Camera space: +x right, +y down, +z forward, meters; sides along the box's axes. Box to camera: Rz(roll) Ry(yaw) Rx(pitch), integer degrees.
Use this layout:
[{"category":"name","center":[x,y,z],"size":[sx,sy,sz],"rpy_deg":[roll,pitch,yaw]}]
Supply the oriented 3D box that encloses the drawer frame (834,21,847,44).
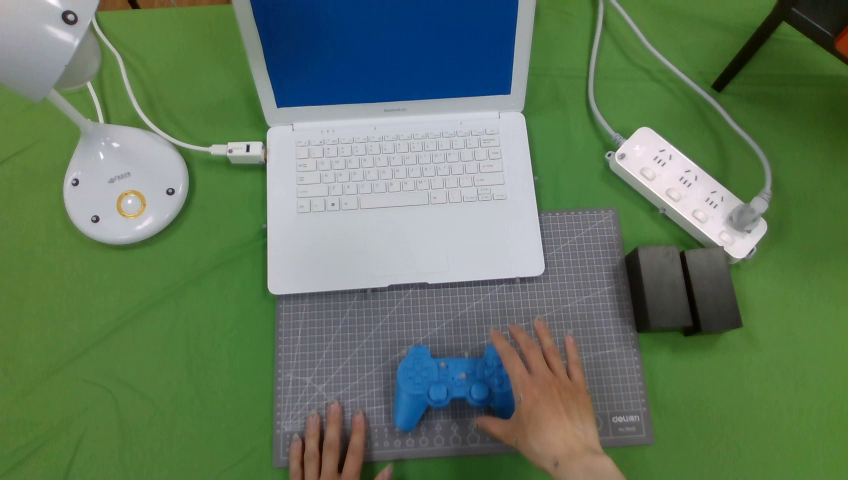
[{"category":"drawer frame","center":[0.589,-0.238,0.637],"size":[0.201,0.083,0.213],"rpy_deg":[41,77,11]}]

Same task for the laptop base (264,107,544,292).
[{"category":"laptop base","center":[-0.031,-0.057,0.799],"size":[0.354,0.023,0.234],"rpy_deg":[-4,76,-2]}]

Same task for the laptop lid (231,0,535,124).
[{"category":"laptop lid","center":[-0.043,-0.246,0.744],"size":[0.357,0.244,0.013],"rpy_deg":[-5,49,-1]}]

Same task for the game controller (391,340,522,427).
[{"category":"game controller","center":[0.038,0.168,0.716],"size":[0.155,0.052,0.096],"rpy_deg":[-1,69,-1]}]

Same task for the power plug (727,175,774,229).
[{"category":"power plug","center":[0.417,-0.042,0.767],"size":[0.072,0.053,0.035],"rpy_deg":[-35,76,-12]}]

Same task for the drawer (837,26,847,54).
[{"category":"drawer","center":[0.587,-0.233,0.637],"size":[0.193,0.073,0.211],"rpy_deg":[42,77,11]}]

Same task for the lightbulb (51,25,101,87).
[{"category":"lightbulb","center":[-0.305,-0.164,0.466],"size":[0.059,0.109,0.059],"rpy_deg":[-19,52,27]}]

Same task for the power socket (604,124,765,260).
[{"category":"power socket","center":[0.343,-0.064,0.797],"size":[0.226,0.033,0.072],"rpy_deg":[43,78,11]}]

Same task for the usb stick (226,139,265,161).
[{"category":"usb stick","center":[-0.229,-0.119,0.802],"size":[0.059,0.027,0.021],"rpy_deg":[0,68,-4]}]

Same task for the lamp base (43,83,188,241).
[{"category":"lamp base","center":[-0.398,-0.108,0.723],"size":[0.160,0.181,0.178],"rpy_deg":[-34,74,-10]}]

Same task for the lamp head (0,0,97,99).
[{"category":"lamp head","center":[-0.327,-0.182,0.452],"size":[0.124,0.112,0.112],"rpy_deg":[28,70,-36]}]
